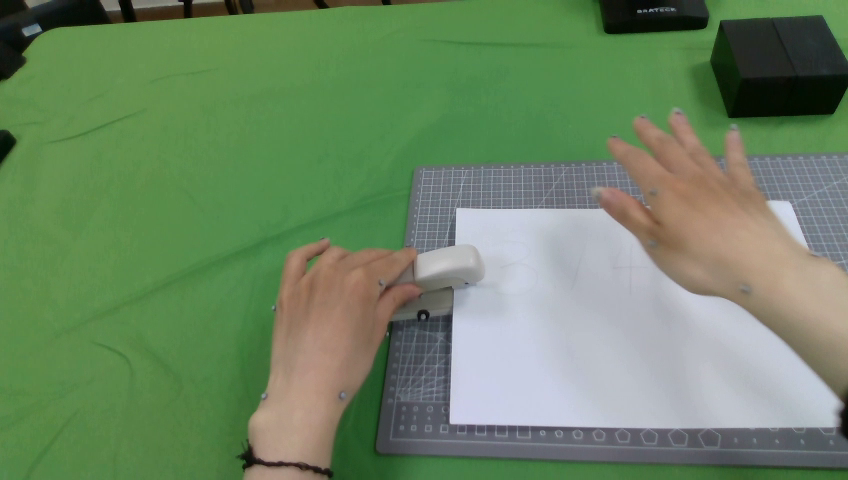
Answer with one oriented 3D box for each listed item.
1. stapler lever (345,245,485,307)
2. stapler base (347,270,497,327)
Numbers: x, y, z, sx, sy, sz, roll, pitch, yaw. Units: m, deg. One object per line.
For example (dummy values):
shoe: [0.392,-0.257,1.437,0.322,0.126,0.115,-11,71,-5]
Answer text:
stapler lever: [-0.009,0.030,0.496,0.118,0.040,0.026,-7,49,4]
stapler base: [-0.004,0.044,0.515,0.130,0.025,0.041,-8,49,5]
